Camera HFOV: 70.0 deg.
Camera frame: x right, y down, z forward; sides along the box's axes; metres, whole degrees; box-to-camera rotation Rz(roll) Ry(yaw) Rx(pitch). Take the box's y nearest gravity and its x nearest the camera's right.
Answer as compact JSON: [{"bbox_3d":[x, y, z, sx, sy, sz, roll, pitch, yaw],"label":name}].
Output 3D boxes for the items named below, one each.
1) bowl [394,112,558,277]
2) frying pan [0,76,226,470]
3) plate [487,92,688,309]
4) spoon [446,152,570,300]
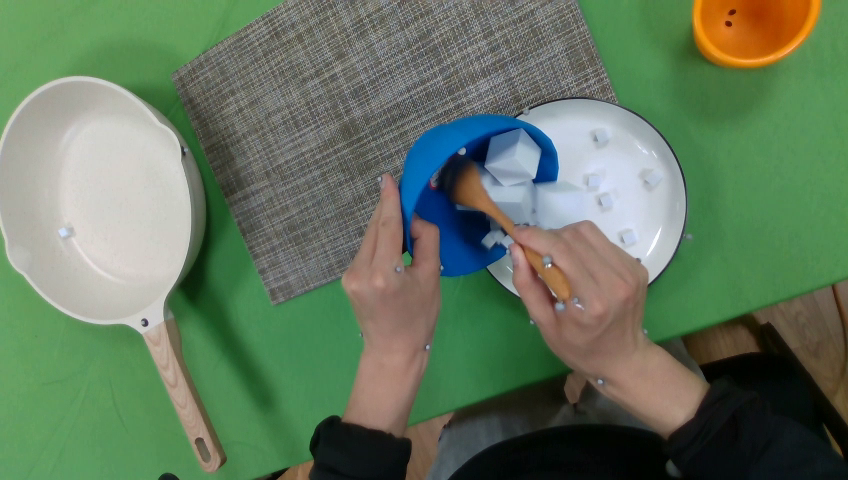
[{"bbox_3d":[0.031,-0.050,0.518,0.151,0.153,0.076,-57,49,18],"label":"bowl"},{"bbox_3d":[-0.346,0.046,0.727,0.306,0.103,0.486,-27,82,20],"label":"frying pan"},{"bbox_3d":[0.145,-0.037,0.593,0.207,0.039,0.208,3,103,16],"label":"plate"},{"bbox_3d":[0.059,-0.016,0.455,0.042,0.022,0.191,-60,38,19],"label":"spoon"}]
